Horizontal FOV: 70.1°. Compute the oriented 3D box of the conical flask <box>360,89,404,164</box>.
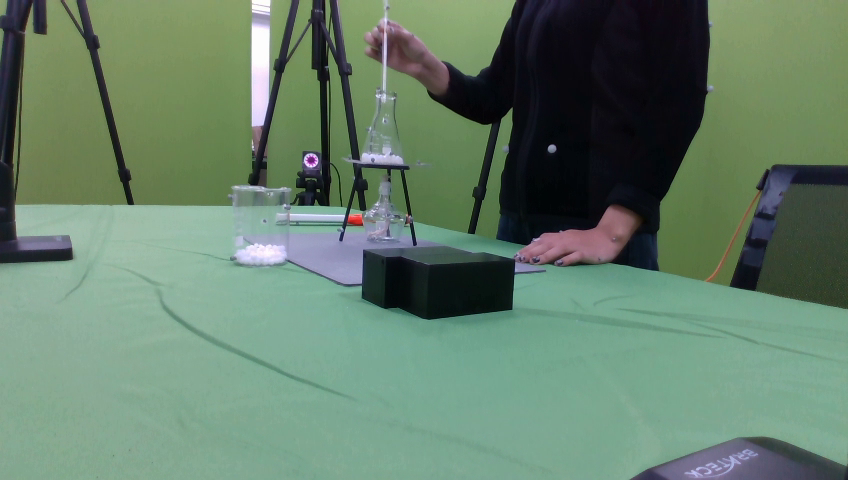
[{"bbox_3d":[-0.067,-0.189,1.010,0.075,0.122,0.075,4,6,0],"label":"conical flask"}]

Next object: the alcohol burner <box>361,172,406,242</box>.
[{"bbox_3d":[-0.067,-0.056,1.030,0.078,0.119,0.078,4,9,0],"label":"alcohol burner"}]

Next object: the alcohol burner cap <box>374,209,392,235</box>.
[{"bbox_3d":[-0.078,-0.036,1.148,0.034,0.048,0.034,3,8,0],"label":"alcohol burner cap"}]

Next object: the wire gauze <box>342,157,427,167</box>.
[{"bbox_3d":[-0.065,-0.130,1.016,0.122,0.011,0.124,2,5,-27],"label":"wire gauze"}]

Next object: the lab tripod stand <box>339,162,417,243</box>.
[{"bbox_3d":[-0.067,-0.065,1.027,0.148,0.131,0.148,4,7,0],"label":"lab tripod stand"}]

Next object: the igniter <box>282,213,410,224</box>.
[{"bbox_3d":[-0.159,-0.046,1.287,0.278,0.025,0.057,-1,-2,-22],"label":"igniter"}]

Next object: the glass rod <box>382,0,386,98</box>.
[{"bbox_3d":[-0.067,-0.335,1.030,0.008,0.199,0.008,-1,-12,0],"label":"glass rod"}]

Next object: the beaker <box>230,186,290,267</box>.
[{"bbox_3d":[-0.209,-0.019,0.778,0.074,0.100,0.084,3,6,4],"label":"beaker"}]
